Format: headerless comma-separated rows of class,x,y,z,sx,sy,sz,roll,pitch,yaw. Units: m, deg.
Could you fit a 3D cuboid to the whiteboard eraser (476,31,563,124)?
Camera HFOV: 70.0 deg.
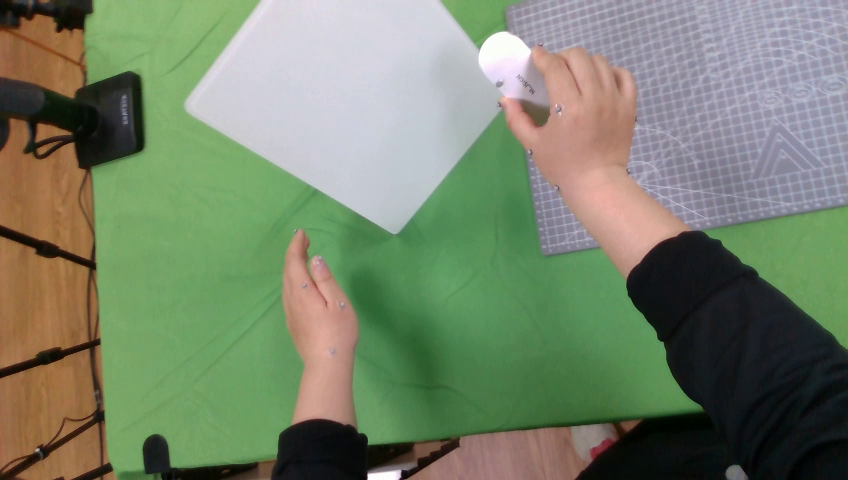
whiteboard eraser,0.085,-0.141,0.531,0.041,0.102,0.018,-43,37,15

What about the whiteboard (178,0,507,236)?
whiteboard,-0.088,-0.175,0.636,0.217,0.308,0.142,-50,52,7
